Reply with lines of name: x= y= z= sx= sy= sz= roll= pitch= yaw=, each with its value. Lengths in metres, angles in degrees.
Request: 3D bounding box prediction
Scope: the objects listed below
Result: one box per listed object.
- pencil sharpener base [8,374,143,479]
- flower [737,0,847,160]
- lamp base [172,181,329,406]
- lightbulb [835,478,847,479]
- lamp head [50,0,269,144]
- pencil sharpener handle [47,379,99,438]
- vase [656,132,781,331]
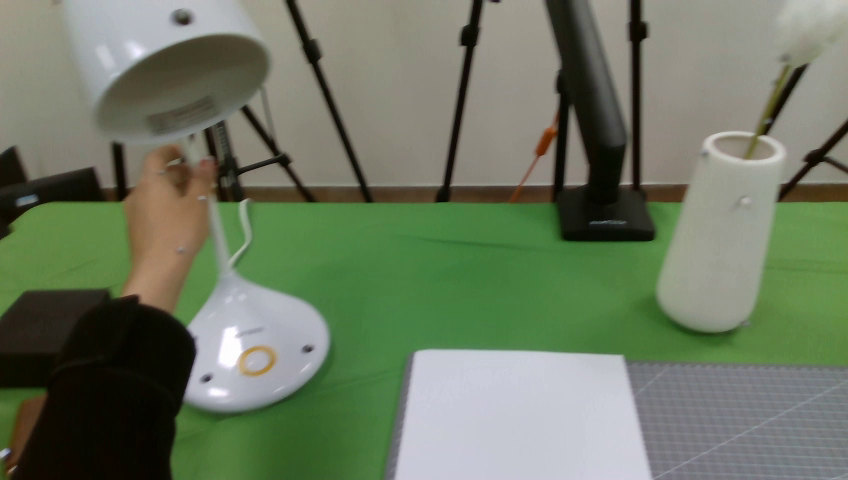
pencil sharpener base: x=-0.271 y=0.171 z=0.482 sx=0.061 sy=0.108 sz=0.076 roll=-16 pitch=36 yaw=-17
flower: x=0.284 y=-0.061 z=0.552 sx=0.038 sy=0.365 sz=0.043 roll=-36 pitch=58 yaw=-21
lamp base: x=-0.191 y=0.042 z=0.603 sx=0.161 sy=0.182 sz=0.177 roll=-22 pitch=36 yaw=-26
lightbulb: x=0.301 y=0.217 z=0.411 sx=0.059 sy=0.060 sz=0.107 roll=3 pitch=50 yaw=10
lamp head: x=-0.174 y=-0.136 z=0.379 sx=0.112 sy=0.112 sz=0.122 roll=-26 pitch=78 yaw=-30
pencil sharpener handle: x=-0.292 y=0.137 z=0.514 sx=0.036 sy=0.068 sz=0.030 roll=-11 pitch=34 yaw=-20
vase: x=0.297 y=-0.005 z=0.615 sx=0.098 sy=0.201 sz=0.097 roll=-3 pitch=33 yaw=2
